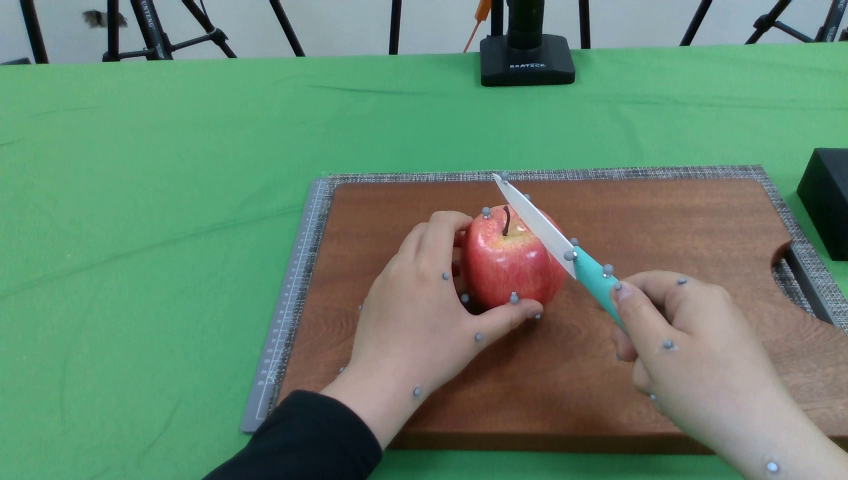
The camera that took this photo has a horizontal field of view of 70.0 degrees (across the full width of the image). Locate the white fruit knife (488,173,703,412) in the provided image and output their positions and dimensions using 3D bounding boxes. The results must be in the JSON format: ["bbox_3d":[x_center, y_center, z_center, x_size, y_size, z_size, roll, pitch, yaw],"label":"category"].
[{"bbox_3d":[0.098,0.019,0.384,0.016,0.027,0.205,-20,51,-24],"label":"white fruit knife"}]

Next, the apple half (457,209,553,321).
[{"bbox_3d":[0.053,0.024,0.446,0.053,0.075,0.080,-22,49,-13],"label":"apple half"}]

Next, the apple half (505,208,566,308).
[{"bbox_3d":[0.088,0.011,0.456,0.033,0.082,0.080,-22,45,-13],"label":"apple half"}]
